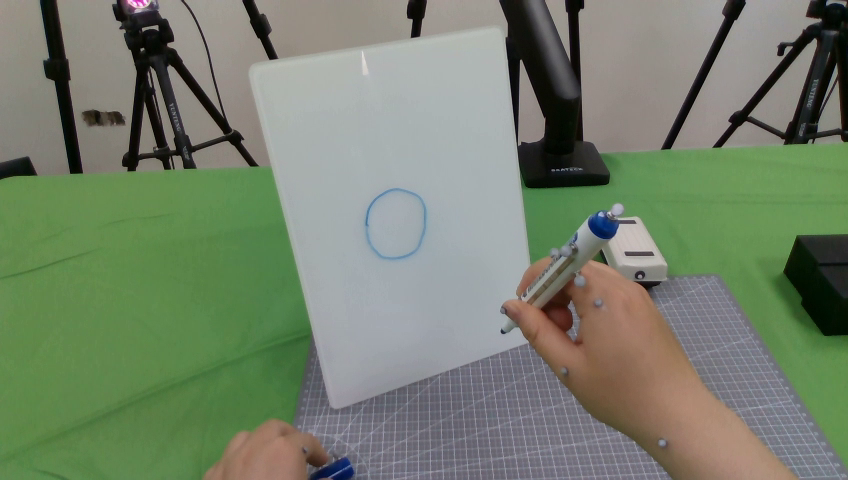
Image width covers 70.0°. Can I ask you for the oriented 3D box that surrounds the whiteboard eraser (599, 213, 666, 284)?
[{"bbox_3d":[0.232,0.008,0.693,0.055,0.042,0.111,-3,32,3],"label":"whiteboard eraser"}]

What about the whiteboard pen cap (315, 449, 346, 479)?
[{"bbox_3d":[-0.075,0.184,0.478,0.018,0.018,0.033,8,53,14],"label":"whiteboard pen cap"}]

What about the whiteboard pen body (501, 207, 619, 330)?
[{"bbox_3d":[0.072,0.024,0.353,0.017,0.141,0.017,8,57,-13],"label":"whiteboard pen body"}]

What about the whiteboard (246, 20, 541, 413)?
[{"bbox_3d":[-0.030,-0.032,0.587,0.218,0.307,0.142,-15,18,-16],"label":"whiteboard"}]
